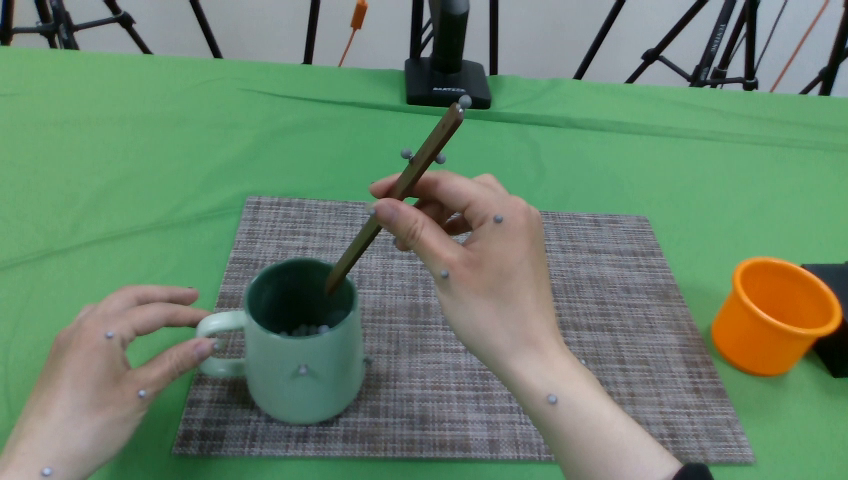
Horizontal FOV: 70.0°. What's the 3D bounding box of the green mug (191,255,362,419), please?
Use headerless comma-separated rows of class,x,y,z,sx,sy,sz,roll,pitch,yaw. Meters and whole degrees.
green mug,-0.109,0.076,0.457,0.126,0.106,0.091,-5,45,-13

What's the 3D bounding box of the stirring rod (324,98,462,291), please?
stirring rod,-0.025,-0.018,0.361,0.006,0.176,0.014,10,50,-29
